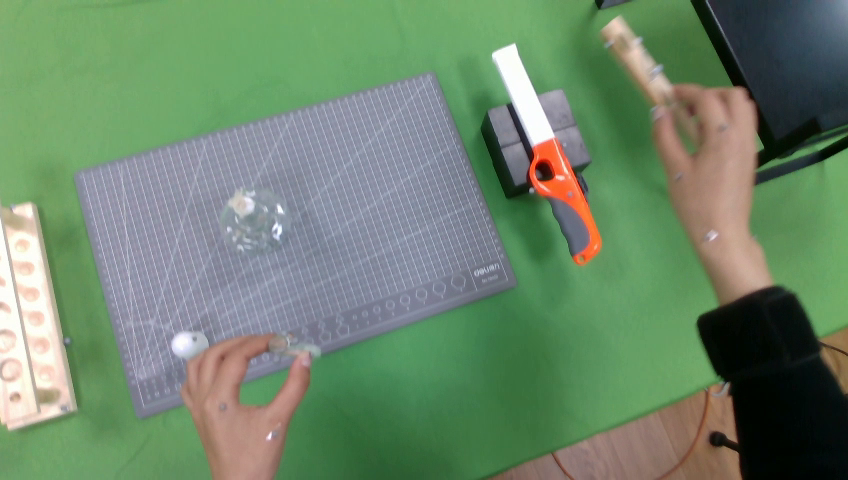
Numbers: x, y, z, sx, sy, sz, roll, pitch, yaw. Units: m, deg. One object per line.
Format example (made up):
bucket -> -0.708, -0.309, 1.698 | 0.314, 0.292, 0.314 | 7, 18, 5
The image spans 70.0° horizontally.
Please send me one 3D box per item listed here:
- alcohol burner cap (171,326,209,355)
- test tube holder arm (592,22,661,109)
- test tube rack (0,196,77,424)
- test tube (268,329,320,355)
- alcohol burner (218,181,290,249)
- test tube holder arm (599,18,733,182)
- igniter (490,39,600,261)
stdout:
alcohol burner cap -> -0.256, 0.108, 0.657 | 0.034, 0.048, 0.033 | 1, 77, -6
test tube holder arm -> 0.177, -0.149, 0.521 | 0.010, 0.015, 0.088 | -43, 98, 1
test tube rack -> -0.438, 0.065, 0.629 | 0.067, 0.085, 0.241 | -16, 80, -8
test tube -> -0.110, 0.091, 0.528 | 0.017, 0.151, 0.017 | 0, 77, 0
alcohol burner -> -0.188, -0.031, 0.658 | 0.078, 0.119, 0.077 | 1, 79, -5
test tube holder arm -> 0.212, -0.120, 0.528 | 0.013, 0.015, 0.179 | -43, 98, 1
igniter -> 0.141, -0.108, 0.706 | 0.057, 0.025, 0.275 | -21, 80, 2
